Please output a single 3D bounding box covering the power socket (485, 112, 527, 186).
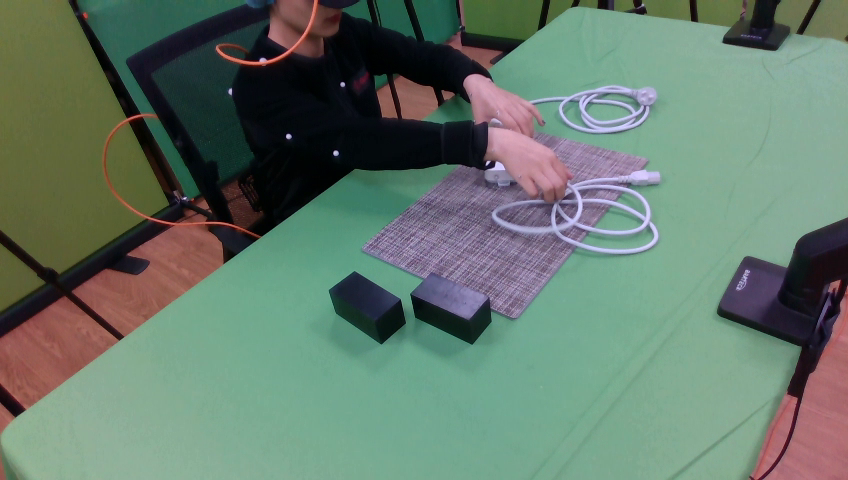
[{"bbox_3d":[0.158,-0.181,1.153,0.072,0.033,0.226,1,41,10],"label":"power socket"}]

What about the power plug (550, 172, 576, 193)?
[{"bbox_3d":[0.237,-0.087,1.019,0.035,0.053,0.072,-43,42,20],"label":"power plug"}]
